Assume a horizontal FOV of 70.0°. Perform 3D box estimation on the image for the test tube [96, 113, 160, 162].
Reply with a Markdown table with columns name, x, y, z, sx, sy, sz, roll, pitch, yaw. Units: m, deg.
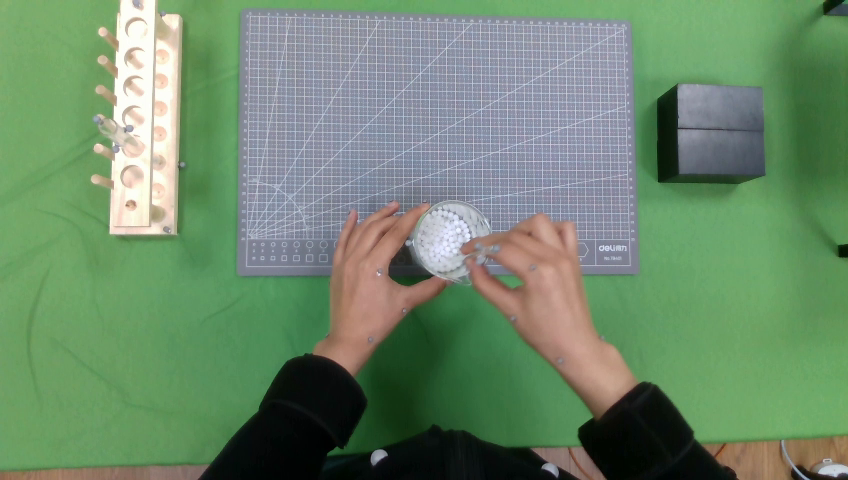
| name | x | y | z | sx | sy | sz | roll | pitch | yaw |
| --- | --- | --- | --- | --- | --- | --- | --- | --- | --- |
| test tube | -0.274 | -0.093 | 0.569 | 0.017 | 0.150 | 0.017 | 1 | 86 | -10 |

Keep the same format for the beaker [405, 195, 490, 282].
| name | x | y | z | sx | sy | sz | roll | pitch | yaw |
| --- | --- | --- | --- | --- | --- | --- | --- | --- | --- |
| beaker | 0.020 | 0.000 | 0.602 | 0.074 | 0.100 | 0.084 | -21 | 92 | -6 |

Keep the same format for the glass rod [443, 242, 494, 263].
| name | x | y | z | sx | sy | sz | roll | pitch | yaw |
| --- | --- | --- | --- | --- | --- | --- | --- | --- | --- |
| glass rod | 0.035 | 0.013 | 0.541 | 0.008 | 0.199 | 0.008 | 1 | 85 | -8 |

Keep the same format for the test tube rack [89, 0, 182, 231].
| name | x | y | z | sx | sy | sz | roll | pitch | yaw |
| --- | --- | --- | --- | --- | --- | --- | --- | --- | --- |
| test tube rack | -0.299 | -0.134 | 0.621 | 0.067 | 0.085 | 0.242 | 0 | 86 | -5 |
